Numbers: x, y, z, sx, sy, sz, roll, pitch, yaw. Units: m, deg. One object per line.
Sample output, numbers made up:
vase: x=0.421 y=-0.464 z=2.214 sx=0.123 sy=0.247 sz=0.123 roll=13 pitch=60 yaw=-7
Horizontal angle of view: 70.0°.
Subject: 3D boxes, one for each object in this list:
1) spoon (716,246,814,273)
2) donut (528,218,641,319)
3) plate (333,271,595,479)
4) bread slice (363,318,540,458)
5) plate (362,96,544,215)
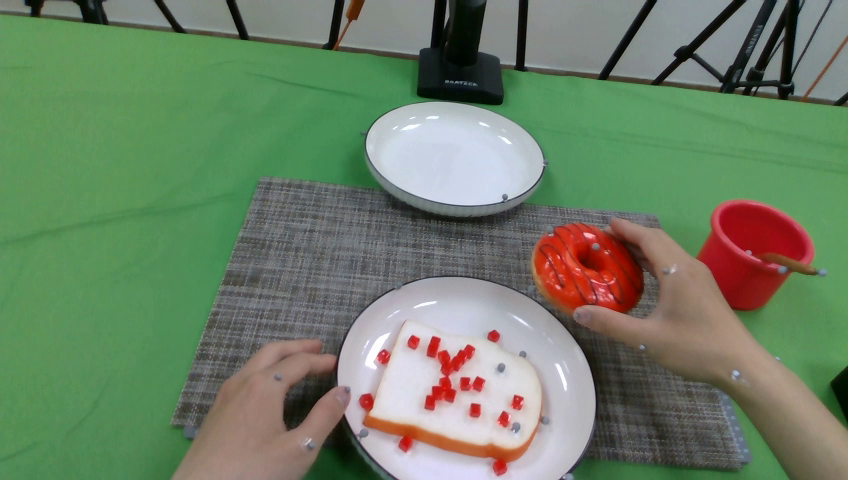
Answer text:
spoon: x=0.314 y=0.017 z=0.561 sx=0.041 sy=0.021 sz=0.194 roll=21 pitch=2 yaw=10
donut: x=0.137 y=0.024 z=0.519 sx=0.099 sy=0.048 sz=0.098 roll=8 pitch=47 yaw=-8
plate: x=0.031 y=0.113 z=0.490 sx=0.209 sy=0.038 sz=0.207 roll=4 pitch=45 yaw=-4
bread slice: x=0.028 y=0.117 z=0.490 sx=0.131 sy=0.019 sz=0.104 roll=13 pitch=46 yaw=7
plate: x=0.032 y=-0.095 z=0.698 sx=0.208 sy=0.039 sz=0.205 roll=5 pitch=43 yaw=-5
